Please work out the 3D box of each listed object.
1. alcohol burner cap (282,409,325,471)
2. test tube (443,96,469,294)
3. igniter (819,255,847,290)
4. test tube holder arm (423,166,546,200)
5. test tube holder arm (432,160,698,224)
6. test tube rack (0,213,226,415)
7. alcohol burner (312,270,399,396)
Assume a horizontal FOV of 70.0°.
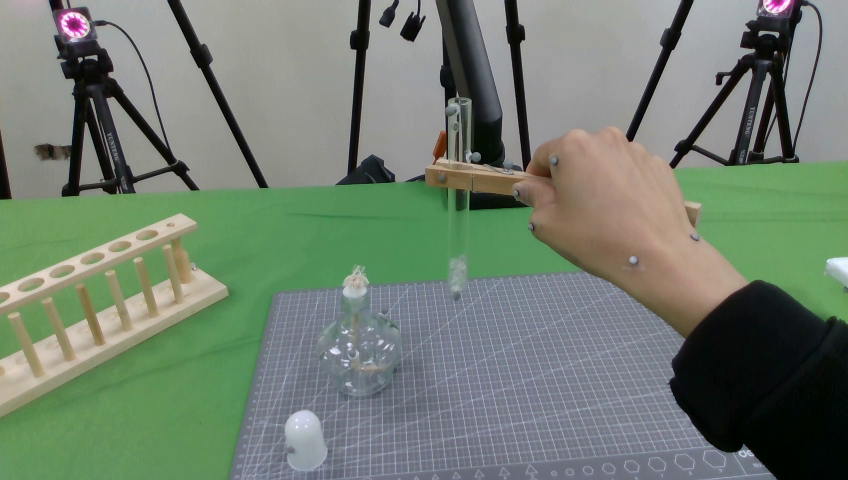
[{"bbox_3d":[-0.098,0.156,0.483,0.034,0.048,0.033,-1,31,1],"label":"alcohol burner cap"},{"bbox_3d":[0.022,-0.027,0.430,0.017,0.151,0.017,0,28,0],"label":"test tube"},{"bbox_3d":[0.434,0.087,0.503,0.057,0.025,0.274,-5,28,-4],"label":"igniter"},{"bbox_3d":[0.040,-0.039,0.408,0.087,0.015,0.010,8,33,23],"label":"test tube holder arm"},{"bbox_3d":[0.082,-0.033,0.392,0.177,0.015,0.013,13,36,29],"label":"test tube holder arm"},{"bbox_3d":[-0.329,0.065,0.605,0.066,0.086,0.242,24,40,35],"label":"test tube rack"},{"bbox_3d":[-0.062,0.079,0.539,0.078,0.120,0.077,-1,30,1],"label":"alcohol burner"}]
